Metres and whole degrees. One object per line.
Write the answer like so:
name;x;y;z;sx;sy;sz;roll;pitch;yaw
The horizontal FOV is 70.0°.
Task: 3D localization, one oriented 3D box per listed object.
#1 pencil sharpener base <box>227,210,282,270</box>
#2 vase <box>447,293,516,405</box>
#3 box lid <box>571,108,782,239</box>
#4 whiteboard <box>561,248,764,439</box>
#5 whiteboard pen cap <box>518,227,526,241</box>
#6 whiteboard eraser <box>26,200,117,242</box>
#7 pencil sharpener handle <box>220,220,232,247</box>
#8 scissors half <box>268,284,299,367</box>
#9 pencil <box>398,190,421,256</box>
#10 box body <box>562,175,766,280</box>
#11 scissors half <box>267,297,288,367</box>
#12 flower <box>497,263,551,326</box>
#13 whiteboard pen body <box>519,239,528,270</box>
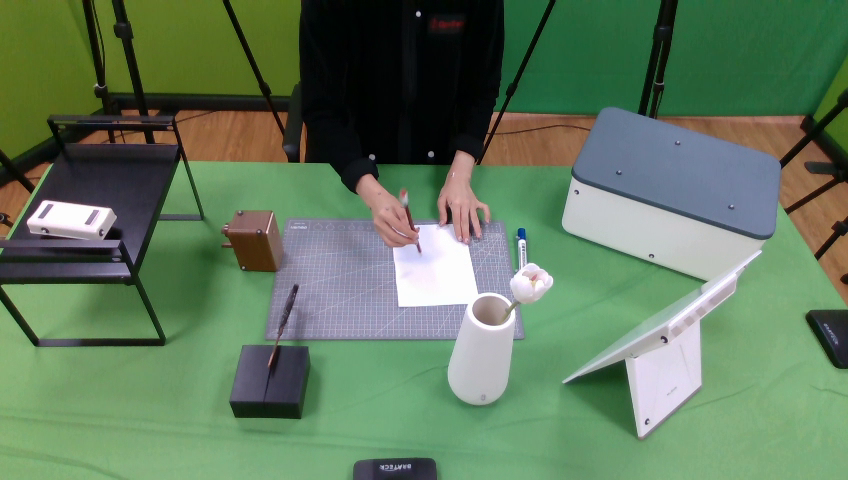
pencil sharpener base;-0.311;0.001;1.112;0.077;0.107;0.061;1;46;1
vase;0.091;0.169;0.921;0.098;0.201;0.097;3;47;-3
box lid;0.491;-0.139;1.168;0.370;0.015;0.262;21;49;15
whiteboard;0.386;0.176;0.905;0.217;0.306;0.143;-26;72;-27
whiteboard pen cap;0.197;-0.009;1.220;0.018;0.018;0.033;5;50;1
whiteboard eraser;-0.532;-0.026;0.919;0.113;0.042;0.055;7;45;3
pencil sharpener handle;-0.362;-0.009;1.105;0.030;0.068;0.036;1;53;1
scissors half;-0.230;0.135;0.986;0.013;0.040;0.174;19;43;-10
pencil;-0.022;-0.025;1.064;0.012;0.195;0.012;-5;55;8
box body;0.486;-0.088;1.222;0.363;0.161;0.253;20;48;15
scissors half;-0.239;0.150;0.997;0.013;0.040;0.174;24;24;-13
flower;0.102;0.121;0.853;0.044;0.363;0.038;-2;64;-10
whiteboard pen body;0.193;0.035;1.181;0.017;0.017;0.140;6;48;1
